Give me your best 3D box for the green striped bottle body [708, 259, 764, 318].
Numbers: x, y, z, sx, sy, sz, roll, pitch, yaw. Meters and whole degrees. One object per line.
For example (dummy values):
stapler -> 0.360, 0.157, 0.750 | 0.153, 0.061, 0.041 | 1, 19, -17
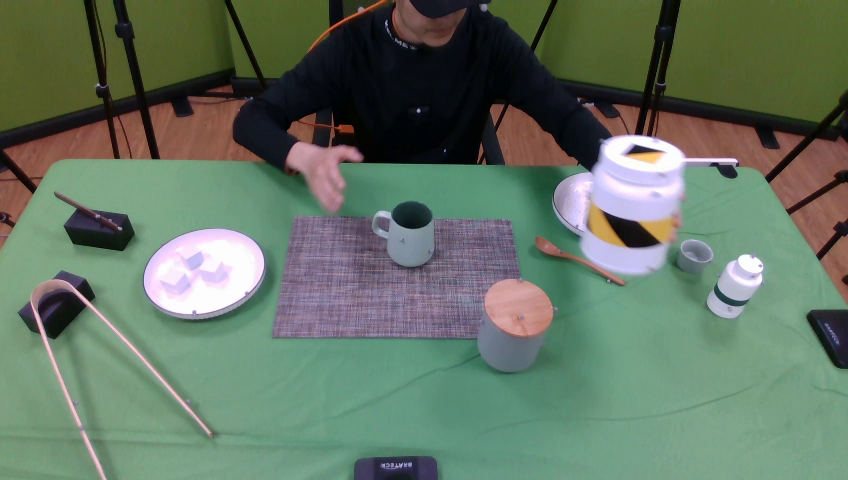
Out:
green striped bottle body -> 0.563, 0.081, 1.089 | 0.063, 0.120, 0.063 | 2, 46, -2

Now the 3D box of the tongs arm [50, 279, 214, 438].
tongs arm -> -0.459, 0.178, 0.949 | 0.386, 0.028, 0.028 | 37, 60, 17

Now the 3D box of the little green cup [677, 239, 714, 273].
little green cup -> 0.530, 0.033, 1.190 | 0.061, 0.039, 0.061 | 2, 47, -2

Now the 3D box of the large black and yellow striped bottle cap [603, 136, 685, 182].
large black and yellow striped bottle cap -> 0.324, -0.122, 0.895 | 0.115, 0.019, 0.114 | 0, 36, 0

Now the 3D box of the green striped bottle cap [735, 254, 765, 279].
green striped bottle cap -> 0.566, 0.046, 1.051 | 0.044, 0.020, 0.044 | 0, 45, 0

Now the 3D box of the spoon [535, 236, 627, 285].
spoon -> 0.303, 0.040, 1.178 | 0.193, 0.022, 0.041 | 25, 33, 19

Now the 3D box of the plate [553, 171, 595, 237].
plate -> 0.373, -0.066, 1.274 | 0.209, 0.038, 0.208 | 2, 46, -2

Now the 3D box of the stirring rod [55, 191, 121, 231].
stirring rod -> -0.632, -0.055, 1.138 | 0.175, 0.014, 0.006 | 24, 50, 19

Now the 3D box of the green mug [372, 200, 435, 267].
green mug -> -0.040, -0.015, 1.145 | 0.125, 0.105, 0.092 | 16, 48, 12

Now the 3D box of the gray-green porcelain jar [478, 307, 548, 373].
gray-green porcelain jar -> 0.144, 0.148, 0.989 | 0.106, 0.127, 0.105 | 2, 50, -2

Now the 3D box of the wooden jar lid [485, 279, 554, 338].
wooden jar lid -> 0.147, 0.108, 0.940 | 0.108, 0.021, 0.107 | 4, 47, -4

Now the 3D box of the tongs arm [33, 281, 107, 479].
tongs arm -> -0.517, 0.214, 0.909 | 0.051, 0.026, 0.383 | -29, 63, -27

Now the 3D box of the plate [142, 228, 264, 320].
plate -> -0.394, 0.064, 1.095 | 0.208, 0.039, 0.206 | 2, 46, -2

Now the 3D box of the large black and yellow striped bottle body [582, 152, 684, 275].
large black and yellow striped bottle body -> 0.324, -0.053, 0.942 | 0.131, 0.185, 0.130 | 0, 35, 0
